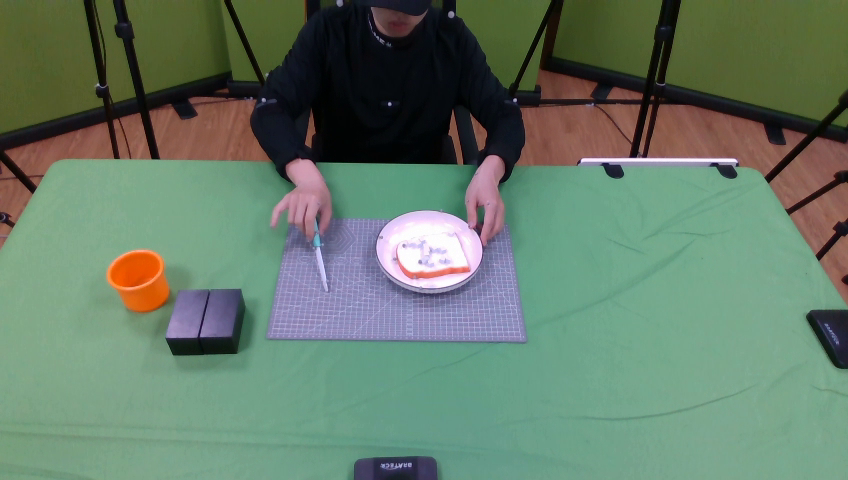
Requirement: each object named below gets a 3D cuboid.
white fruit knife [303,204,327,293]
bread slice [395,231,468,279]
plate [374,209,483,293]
[{"bbox_3d":[-0.205,0.011,1.149,0.016,0.027,0.206,-1,56,-29],"label":"white fruit knife"},{"bbox_3d":[0.011,0.029,1.158,0.132,0.019,0.104,-9,48,-14],"label":"bread slice"},{"bbox_3d":[0.009,0.024,1.160,0.209,0.038,0.208,2,46,-2],"label":"plate"}]
